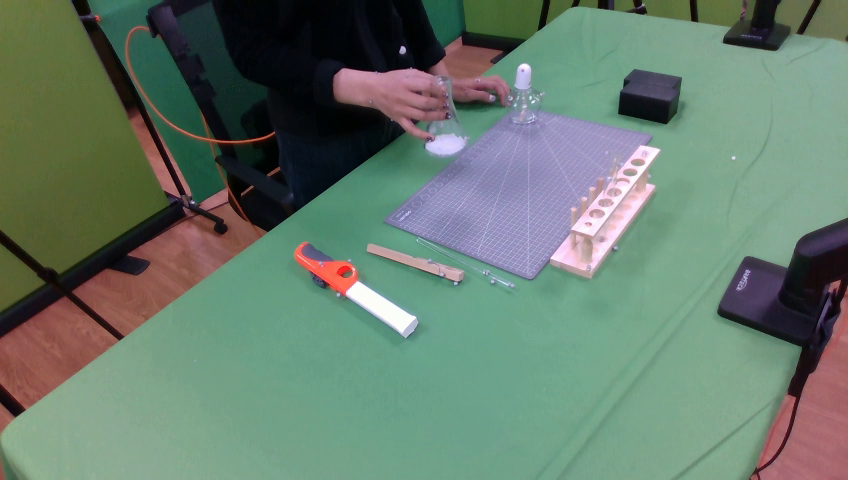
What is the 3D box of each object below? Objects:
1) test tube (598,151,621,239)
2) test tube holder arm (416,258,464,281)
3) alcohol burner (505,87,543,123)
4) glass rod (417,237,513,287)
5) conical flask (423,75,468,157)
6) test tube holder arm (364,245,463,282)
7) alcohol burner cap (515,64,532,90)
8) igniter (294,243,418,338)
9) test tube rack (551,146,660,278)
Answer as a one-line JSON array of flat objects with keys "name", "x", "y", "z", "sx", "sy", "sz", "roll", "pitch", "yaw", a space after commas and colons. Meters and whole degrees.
[{"name": "test tube", "x": 0.269, "y": -0.062, "z": 0.880, "sx": 0.017, "sy": 0.151, "sz": 0.017, "roll": -3, "pitch": 39, "yaw": 3}, {"name": "test tube holder arm", "x": 0.022, "y": 0.045, "z": 0.931, "sx": 0.087, "sy": 0.015, "sz": 0.010, "roll": 16, "pitch": 10, "yaw": 28}, {"name": "alcohol burner", "x": 0.202, "y": -0.298, "z": 1.222, "sx": 0.078, "sy": 0.119, "sz": 0.077, "roll": -4, "pitch": 40, "yaw": 4}, {"name": "glass rod", "x": 0.059, "y": 0.032, "z": 0.944, "sx": 0.198, "sy": 0.008, "sz": 0.008, "roll": 26, "pitch": 52, "yaw": 38}, {"name": "conical flask", "x": 0.030, "y": -0.203, "z": 0.982, "sx": 0.075, "sy": 0.122, "sz": 0.075, "roll": -4, "pitch": 35, "yaw": 4}, {"name": "test tube holder arm", "x": -0.020, "y": 0.035, "z": 0.947, "sx": 0.177, "sy": 0.015, "sz": 0.013, "roll": 16, "pitch": 10, "yaw": 26}, {"name": "alcohol burner cap", "x": 0.199, "y": -0.324, "z": 1.198, "sx": 0.034, "sy": 0.048, "sz": 0.033, "roll": 0, "pitch": 46, "yaw": 1}, {"name": "igniter", "x": -0.114, "y": 0.070, "z": 0.919, "sx": 0.274, "sy": 0.025, "sz": 0.057, "roll": 29, "pitch": 63, "yaw": 37}, {"name": "test tube rack", "x": 0.286, "y": -0.053, "z": 0.943, "sx": 0.066, "sy": 0.085, "sz": 0.243, "roll": 21, "pitch": 49, "yaw": 32}]
